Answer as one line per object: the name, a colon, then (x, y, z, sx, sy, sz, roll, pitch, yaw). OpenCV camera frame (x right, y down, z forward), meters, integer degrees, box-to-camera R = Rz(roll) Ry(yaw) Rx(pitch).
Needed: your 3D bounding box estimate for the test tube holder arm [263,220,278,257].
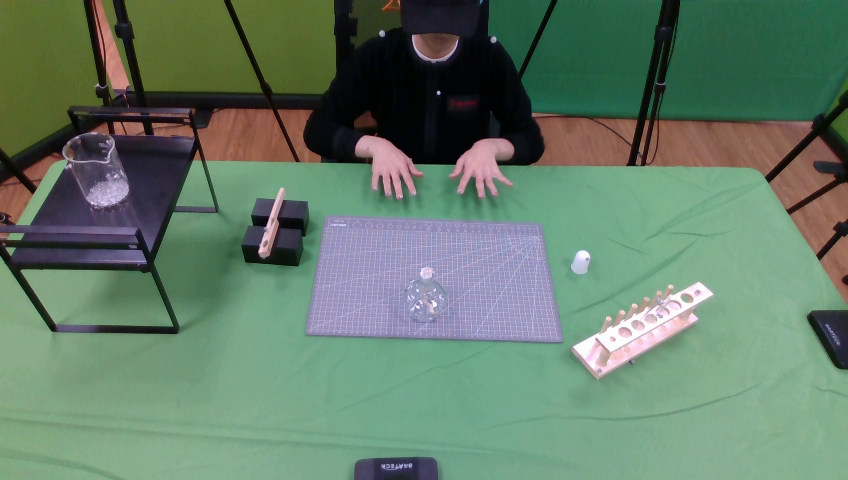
test tube holder arm: (-0.282, -0.004, 1.115, 0.010, 0.015, 0.087, 0, 45, 0)

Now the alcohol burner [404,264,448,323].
alcohol burner: (0.003, 0.087, 1.042, 0.078, 0.120, 0.077, 1, 45, 0)

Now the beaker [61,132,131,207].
beaker: (-0.512, -0.107, 0.959, 0.083, 0.101, 0.074, 29, 51, 22)

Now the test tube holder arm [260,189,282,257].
test tube holder arm: (-0.288, -0.036, 1.147, 0.013, 0.015, 0.177, -1, 45, -1)

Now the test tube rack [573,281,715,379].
test tube rack: (0.378, 0.140, 1.038, 0.242, 0.085, 0.066, -22, 51, -23)

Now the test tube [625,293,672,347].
test tube: (0.355, 0.132, 0.971, 0.017, 0.151, 0.017, 6, 52, -8)

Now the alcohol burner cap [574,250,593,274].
alcohol burner cap: (0.308, 0.039, 1.163, 0.034, 0.048, 0.033, 1, 46, -1)
